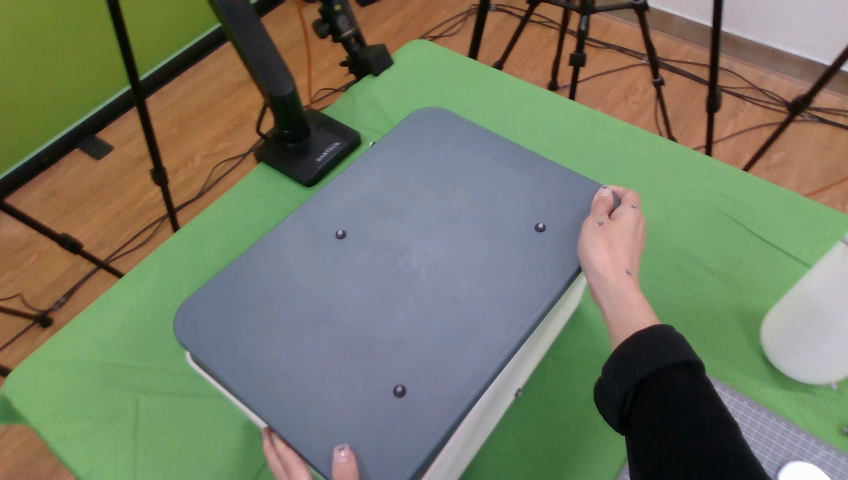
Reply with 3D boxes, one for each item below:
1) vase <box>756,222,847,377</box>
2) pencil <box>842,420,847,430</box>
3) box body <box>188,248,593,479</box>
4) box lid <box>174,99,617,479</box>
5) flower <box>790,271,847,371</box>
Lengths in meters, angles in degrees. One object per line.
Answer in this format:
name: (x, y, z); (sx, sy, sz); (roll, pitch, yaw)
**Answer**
vase: (0.409, 0.057, 0.600); (0.098, 0.202, 0.097); (-3, 53, 4)
pencil: (0.525, 0.184, 0.616); (0.194, 0.012, 0.012); (-3, 54, 1)
box body: (-0.012, 0.077, 0.642); (0.252, 0.162, 0.363); (29, 62, 23)
box lid: (-0.016, 0.016, 0.563); (0.261, 0.015, 0.370); (33, 63, 24)
flower: (0.405, -0.004, 0.542); (0.044, 0.365, 0.038); (23, 42, 24)
